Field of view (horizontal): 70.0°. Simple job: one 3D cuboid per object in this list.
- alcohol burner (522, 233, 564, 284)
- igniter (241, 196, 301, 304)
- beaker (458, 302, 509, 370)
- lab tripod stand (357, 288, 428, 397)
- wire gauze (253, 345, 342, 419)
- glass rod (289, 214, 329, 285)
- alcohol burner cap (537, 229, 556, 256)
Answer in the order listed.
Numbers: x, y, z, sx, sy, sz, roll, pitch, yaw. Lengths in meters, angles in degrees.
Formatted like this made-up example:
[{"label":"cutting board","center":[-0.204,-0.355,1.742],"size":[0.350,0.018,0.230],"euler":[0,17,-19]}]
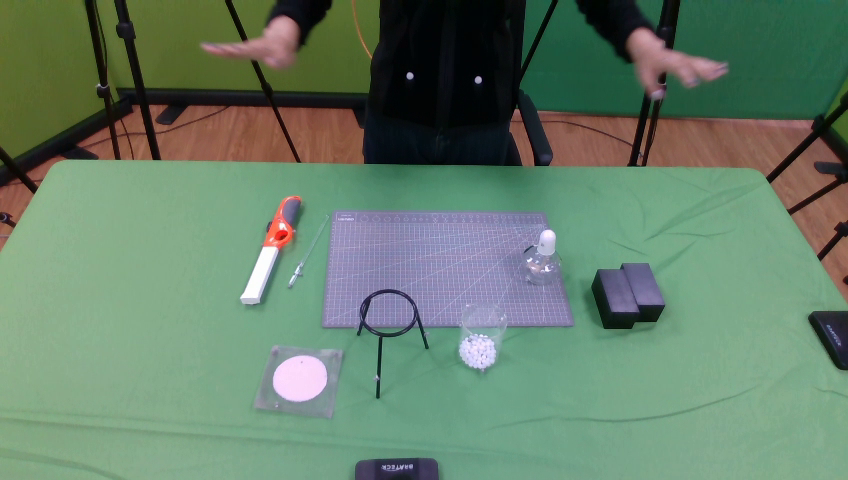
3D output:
[{"label":"alcohol burner","center":[0.223,0.027,1.121],"size":[0.078,0.119,0.077],"euler":[2,48,-3]},{"label":"igniter","center":[-0.290,0.010,1.164],"size":[0.057,0.025,0.275],"euler":[0,45,10]},{"label":"beaker","center":[0.092,0.159,0.999],"size":[0.083,0.101,0.074],"euler":[35,53,28]},{"label":"lab tripod stand","center":[-0.058,0.155,0.967],"size":[0.148,0.132,0.147],"euler":[3,47,-3]},{"label":"wire gauze","center":[-0.200,0.224,0.979],"size":[0.125,0.011,0.121],"euler":[7,47,0]},{"label":"glass rod","center":[-0.221,0.014,1.179],"size":[0.008,0.008,0.199],"euler":[12,46,8]},{"label":"alcohol burner cap","center":[0.223,0.001,1.095],"size":[0.034,0.048,0.033],"euler":[-1,44,1]}]
